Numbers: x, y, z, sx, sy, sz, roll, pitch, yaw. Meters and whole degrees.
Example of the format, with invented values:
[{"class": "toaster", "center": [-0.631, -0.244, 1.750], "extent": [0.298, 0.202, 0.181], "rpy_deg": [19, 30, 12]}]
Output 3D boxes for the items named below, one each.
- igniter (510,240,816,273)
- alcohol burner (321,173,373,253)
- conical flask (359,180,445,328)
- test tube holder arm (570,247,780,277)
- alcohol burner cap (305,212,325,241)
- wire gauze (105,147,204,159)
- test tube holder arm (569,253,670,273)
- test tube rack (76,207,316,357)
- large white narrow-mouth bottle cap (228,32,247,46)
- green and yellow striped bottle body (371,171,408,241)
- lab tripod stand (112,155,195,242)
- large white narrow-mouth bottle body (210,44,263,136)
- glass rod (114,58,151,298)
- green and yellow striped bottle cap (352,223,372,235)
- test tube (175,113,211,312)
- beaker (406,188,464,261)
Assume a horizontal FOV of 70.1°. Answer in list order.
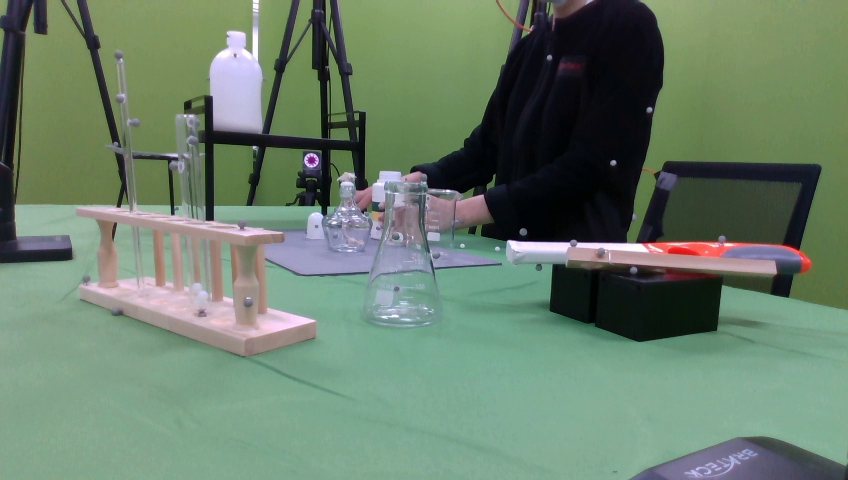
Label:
[{"class": "igniter", "center": [0.220, 0.015, 0.565], "extent": [0.277, 0.025, 0.057], "rpy_deg": [2, 16, 0]}, {"class": "alcohol burner", "center": [-0.115, -0.041, 0.905], "extent": [0.078, 0.119, 0.078], "rpy_deg": [1, 6, 0]}, {"class": "conical flask", "center": [-0.017, 0.010, 0.522], "extent": [0.075, 0.122, 0.075], "rpy_deg": [2, 7, 0]}, {"class": "test tube holder arm", "center": [0.217, 0.019, 0.525], "extent": [0.178, 0.015, 0.013], "rpy_deg": [3, -23, 3]}, {"class": "alcohol burner cap", "center": [-0.185, -0.023, 1.027], "extent": [0.034, 0.048, 0.034], "rpy_deg": [2, 7, 0]}, {"class": "wire gauze", "center": [-0.407, -0.131, 0.928], "extent": [0.125, 0.011, 0.121], "rpy_deg": [2, 6, -11]}, {"class": "test tube holder arm", "center": [0.172, 0.019, 0.532], "extent": [0.088, 0.015, 0.010], "rpy_deg": [3, -23, 3]}, {"class": "test tube rack", "center": [-0.196, 0.023, 0.499], "extent": [0.241, 0.085, 0.067], "rpy_deg": [8, 9, 36]}, {"class": "large white narrow-mouth bottle cap", "center": [-0.364, -0.390, 1.180], "extent": [0.038, 0.024, 0.037], "rpy_deg": [3, 8, 0]}, {"class": "green and yellow striped bottle body", "center": [-0.060, -0.061, 1.059], "extent": [0.063, 0.119, 0.063], "rpy_deg": [2, 7, 0]}, {"class": "lab tripod stand", "center": [-0.405, -0.064, 0.931], "extent": [0.148, 0.131, 0.148], "rpy_deg": [1, 6, 0]}, {"class": "large white narrow-mouth bottle body", "center": [-0.369, -0.305, 1.194], "extent": [0.102, 0.194, 0.102], "rpy_deg": [3, 8, 0]}, {"class": "glass rod", "center": [-0.236, -0.044, 0.492], "extent": [0.008, 0.199, 0.008], "rpy_deg": [1, 15, 0]}, {"class": "green and yellow striped bottle cap", "center": [-0.113, -0.021, 1.141], "extent": [0.045, 0.020, 0.045], "rpy_deg": [4, 7, 0]}, {"class": "test tube", "center": [-0.175, -0.020, 0.458], "extent": [0.017, 0.150, 0.017], "rpy_deg": [-2, 5, 1]}, {"class": "beaker", "center": [0.014, -0.023, 0.870], "extent": [0.084, 0.100, 0.074], "rpy_deg": [3, 8, -4]}]
